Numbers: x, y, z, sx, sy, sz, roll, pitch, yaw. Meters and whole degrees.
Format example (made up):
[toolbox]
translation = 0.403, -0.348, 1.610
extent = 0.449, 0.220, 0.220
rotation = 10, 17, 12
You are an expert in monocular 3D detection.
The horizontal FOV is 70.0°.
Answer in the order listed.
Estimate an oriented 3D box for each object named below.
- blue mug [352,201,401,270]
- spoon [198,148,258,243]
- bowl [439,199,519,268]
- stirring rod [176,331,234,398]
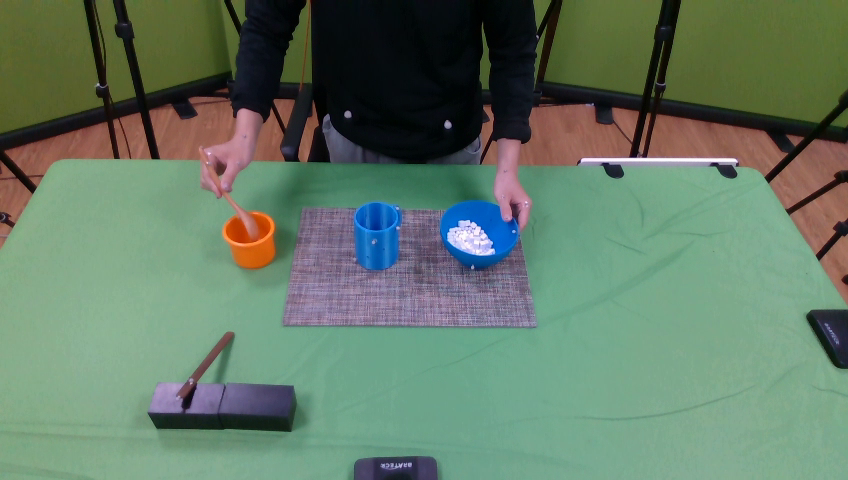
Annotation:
[blue mug]
translation = -0.082, -0.017, 1.144
extent = 0.082, 0.106, 0.116
rotation = 30, 51, 22
[spoon]
translation = -0.350, -0.077, 1.081
extent = 0.021, 0.194, 0.041
rotation = -22, 26, 17
[bowl]
translation = 0.100, 0.000, 1.160
extent = 0.151, 0.077, 0.150
rotation = 2, 46, -2
[stirring rod]
translation = -0.342, 0.192, 0.955
extent = 0.014, 0.006, 0.175
rotation = 3, 24, 7
